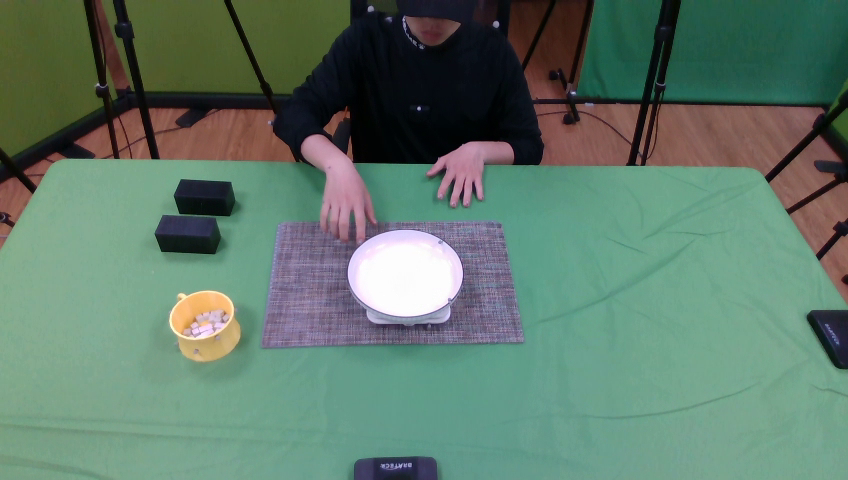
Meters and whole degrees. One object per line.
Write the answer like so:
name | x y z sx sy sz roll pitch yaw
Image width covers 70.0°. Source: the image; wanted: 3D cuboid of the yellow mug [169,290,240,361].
yellow mug | -0.373 0.132 1.009 0.130 0.064 0.100 35 53 27

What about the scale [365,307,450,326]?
scale | -0.032 0.071 1.113 0.149 0.032 0.199 0 46 -4

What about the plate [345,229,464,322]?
plate | -0.034 0.065 1.073 0.209 0.038 0.208 2 46 -2
